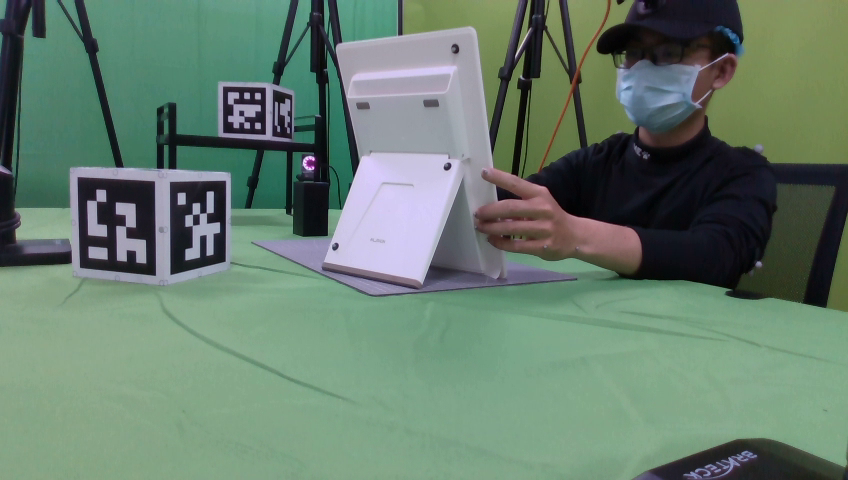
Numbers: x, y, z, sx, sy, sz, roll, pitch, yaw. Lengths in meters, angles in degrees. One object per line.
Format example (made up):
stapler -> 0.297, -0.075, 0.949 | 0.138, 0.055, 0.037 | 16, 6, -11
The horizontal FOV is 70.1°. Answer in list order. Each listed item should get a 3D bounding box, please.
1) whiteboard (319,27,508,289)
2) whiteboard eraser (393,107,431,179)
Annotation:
whiteboard -> -0.046, -0.076, 0.721 | 0.216, 0.305, 0.144 | 9, 29, 39
whiteboard eraser -> -0.015, -0.126, 0.789 | 0.041, 0.101, 0.019 | 12, 44, 23
